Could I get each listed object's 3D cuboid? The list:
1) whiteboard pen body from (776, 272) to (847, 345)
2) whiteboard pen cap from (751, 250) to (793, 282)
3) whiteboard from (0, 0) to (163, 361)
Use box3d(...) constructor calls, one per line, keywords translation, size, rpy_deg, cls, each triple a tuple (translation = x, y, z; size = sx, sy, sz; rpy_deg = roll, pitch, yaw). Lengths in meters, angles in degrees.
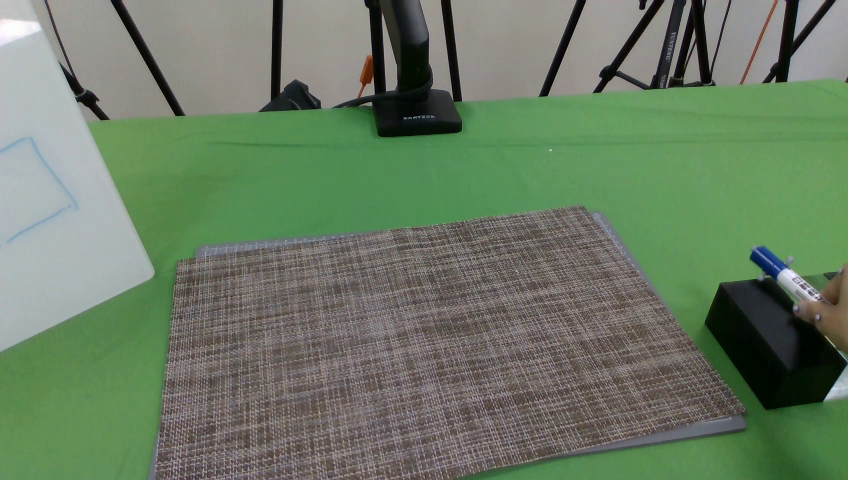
box3d(translation=(0.325, 0.060, 0.488), size=(0.017, 0.017, 0.139), rpy_deg=(-12, 40, -16), cls="whiteboard pen body")
box3d(translation=(0.306, 0.023, 0.532), size=(0.018, 0.018, 0.033), rpy_deg=(-11, 38, -15), cls="whiteboard pen cap")
box3d(translation=(-0.414, -0.059, 0.531), size=(0.217, 0.307, 0.142), rpy_deg=(-31, 28, -34), cls="whiteboard")
